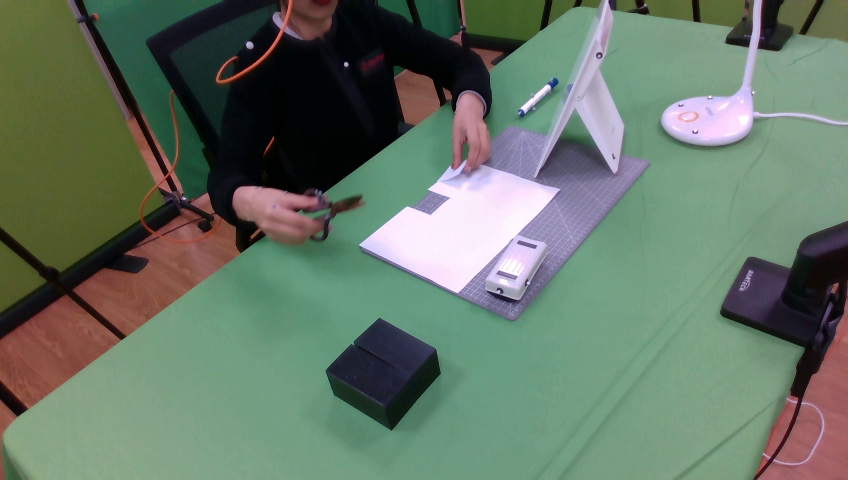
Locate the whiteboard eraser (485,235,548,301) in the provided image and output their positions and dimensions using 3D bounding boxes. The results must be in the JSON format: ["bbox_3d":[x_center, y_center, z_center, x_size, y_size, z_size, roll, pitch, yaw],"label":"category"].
[{"bbox_3d":[0.137,0.042,0.887,0.055,0.042,0.113,15,46,27],"label":"whiteboard eraser"}]

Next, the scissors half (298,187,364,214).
[{"bbox_3d":[-0.135,-0.053,0.864,0.013,0.040,0.173,-8,11,-39],"label":"scissors half"}]

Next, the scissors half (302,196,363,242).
[{"bbox_3d":[-0.131,-0.032,0.865,0.013,0.040,0.174,-14,-9,-39],"label":"scissors half"}]

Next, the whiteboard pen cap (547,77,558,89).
[{"bbox_3d":[0.279,-0.341,1.321,0.018,0.018,0.033,22,51,31],"label":"whiteboard pen cap"}]

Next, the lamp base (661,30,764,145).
[{"bbox_3d":[0.535,-0.287,1.096,0.179,0.181,0.159,-10,40,-4],"label":"lamp base"}]

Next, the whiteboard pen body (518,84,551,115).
[{"bbox_3d":[0.242,-0.306,1.289,0.017,0.017,0.141,24,52,32],"label":"whiteboard pen body"}]

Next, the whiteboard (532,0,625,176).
[{"bbox_3d":[0.320,-0.259,1.050,0.144,0.306,0.217,21,45,5],"label":"whiteboard"}]
